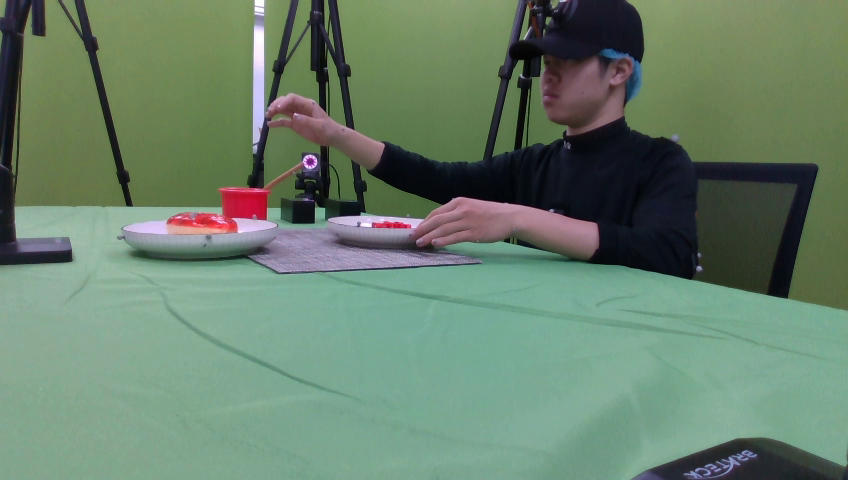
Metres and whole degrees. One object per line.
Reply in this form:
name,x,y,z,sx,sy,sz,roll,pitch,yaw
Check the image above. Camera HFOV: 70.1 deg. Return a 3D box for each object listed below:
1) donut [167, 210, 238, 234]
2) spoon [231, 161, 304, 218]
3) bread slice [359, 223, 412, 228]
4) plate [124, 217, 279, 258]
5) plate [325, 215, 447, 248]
donut,-0.321,-0.017,0.882,0.099,0.048,0.099,3,6,0
spoon,-0.314,-0.096,1.192,0.194,0.022,0.041,-42,13,-5
bread slice,-0.062,-0.012,1.034,0.105,0.019,0.131,0,10,-19
plate,-0.315,-0.004,0.871,0.208,0.039,0.207,1,8,0
plate,-0.065,-0.015,1.035,0.209,0.038,0.209,3,8,0
